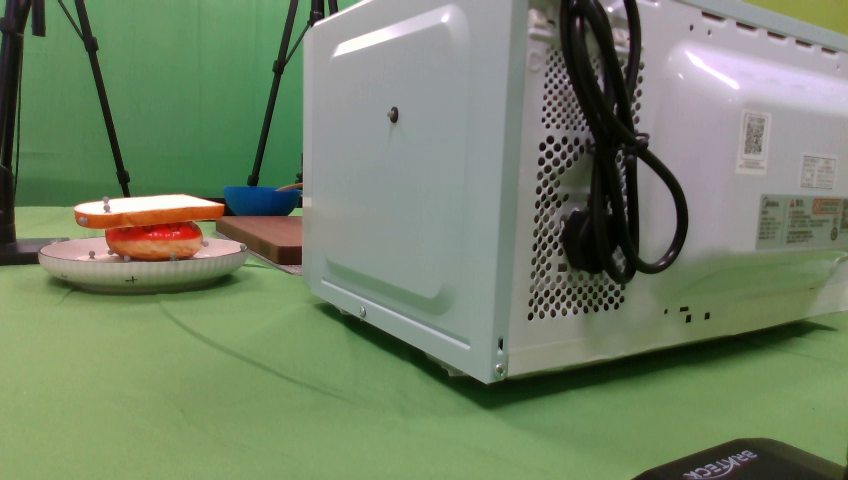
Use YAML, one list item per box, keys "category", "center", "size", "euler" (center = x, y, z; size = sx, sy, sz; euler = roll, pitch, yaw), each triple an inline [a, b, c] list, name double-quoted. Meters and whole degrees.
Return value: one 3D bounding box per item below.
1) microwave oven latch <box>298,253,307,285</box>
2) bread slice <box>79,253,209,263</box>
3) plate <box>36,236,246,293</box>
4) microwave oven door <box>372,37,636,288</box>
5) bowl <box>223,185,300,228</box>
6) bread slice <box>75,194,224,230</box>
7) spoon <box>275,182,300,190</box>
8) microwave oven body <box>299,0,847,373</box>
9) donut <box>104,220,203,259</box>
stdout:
- category: "microwave oven latch"
  center: [-0.081, 0.027, 0.582]
  size: [0.079, 0.029, 0.030]
  euler: [-1, 7, -32]
- category: "bread slice"
  center: [-0.302, 0.027, 0.662]
  size: [0.132, 0.019, 0.104]
  euler: [-4, 8, -45]
- category: "plate"
  center: [-0.305, 0.026, 0.668]
  size: [0.208, 0.039, 0.207]
  euler: [2, 7, 0]
- category: "microwave oven door"
  center: [0.110, -0.080, 0.686]
  size: [0.358, 0.243, 0.039]
  euler: [-2, 9, -33]
- category: "bowl"
  center: [-0.330, -0.068, 1.231]
  size: [0.151, 0.077, 0.151]
  euler: [3, 8, 0]
- category: "bread slice"
  center: [-0.301, -0.032, 0.659]
  size: [0.106, 0.018, 0.135]
  euler: [10, 16, 41]
- category: "spoon"
  center: [-0.300, -0.103, 1.266]
  size: [0.194, 0.021, 0.041]
  euler: [-23, 12, -24]
- category: "microwave oven body"
  center: [0.151, -0.055, 0.542]
  size: [0.444, 0.260, 0.324]
  euler: [-2, 7, -33]
- category: "donut"
  center: [-0.298, -0.003, 0.669]
  size: [0.099, 0.048, 0.099]
  euler: [3, -1, 0]
